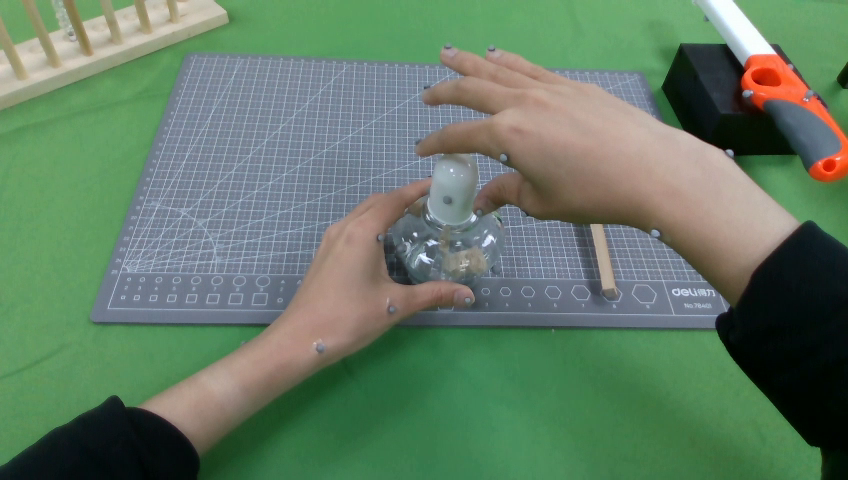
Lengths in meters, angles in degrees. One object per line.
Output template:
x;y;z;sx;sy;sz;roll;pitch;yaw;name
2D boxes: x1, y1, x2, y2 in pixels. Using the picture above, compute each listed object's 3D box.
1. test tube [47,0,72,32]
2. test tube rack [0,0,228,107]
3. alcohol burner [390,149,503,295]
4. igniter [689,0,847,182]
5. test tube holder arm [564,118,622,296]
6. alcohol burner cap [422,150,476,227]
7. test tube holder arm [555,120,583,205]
-0.324;-0.245;0.508;0.017;0.151;0.017;4;49;-4;test tube
-0.308;-0.209;0.544;0.242;0.086;0.066;-34;62;-27;test tube rack
0.016;-0.016;0.402;0.078;0.120;0.077;2;54;-2;alcohol burner
0.297;-0.151;0.534;0.057;0.025;0.273;-2;50;-4;igniter
0.133;-0.033;0.487;0.013;0.015;0.176;-22;49;22;test tube holder arm
0.017;-0.035;0.377;0.034;0.048;0.033;3;53;-3;alcohol burner cap
0.125;-0.067;0.516;0.010;0.015;0.087;-21;50;22;test tube holder arm
